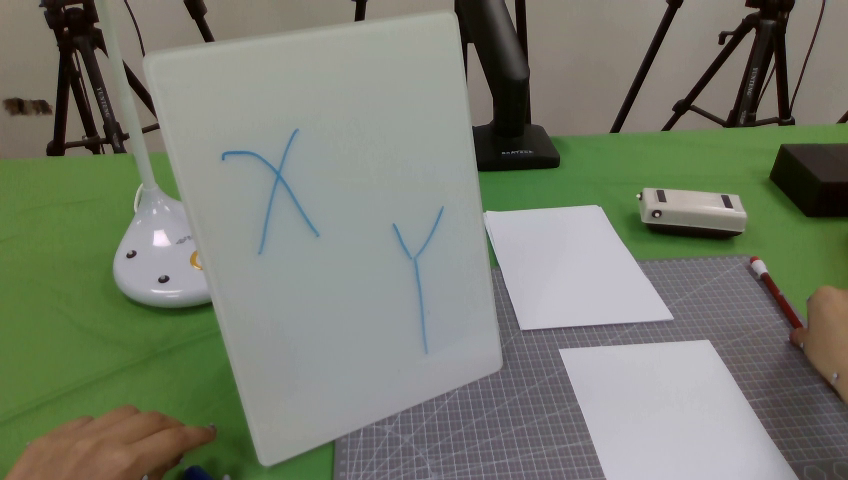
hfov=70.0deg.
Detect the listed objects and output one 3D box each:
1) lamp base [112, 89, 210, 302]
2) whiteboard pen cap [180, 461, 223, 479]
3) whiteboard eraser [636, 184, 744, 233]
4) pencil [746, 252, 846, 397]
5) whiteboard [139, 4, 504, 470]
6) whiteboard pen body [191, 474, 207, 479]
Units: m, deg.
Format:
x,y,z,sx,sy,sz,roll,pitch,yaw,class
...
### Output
x,y,z,sx,sy,sz,roll,pitch,yaw,class
-0.261,-0.054,0.617,0.178,0.182,0.160,21,41,30,lamp base
-0.159,0.174,0.438,0.033,0.018,0.018,19,40,30,whiteboard pen cap
0.311,-0.036,0.714,0.112,0.042,0.055,6,38,8,whiteboard eraser
0.354,0.074,0.583,0.012,0.012,0.192,0,37,1,pencil
-0.077,-0.014,0.505,0.218,0.307,0.142,-17,20,-21,whiteboard
-0.113,0.195,0.410,0.139,0.017,0.017,22,41,29,whiteboard pen body
